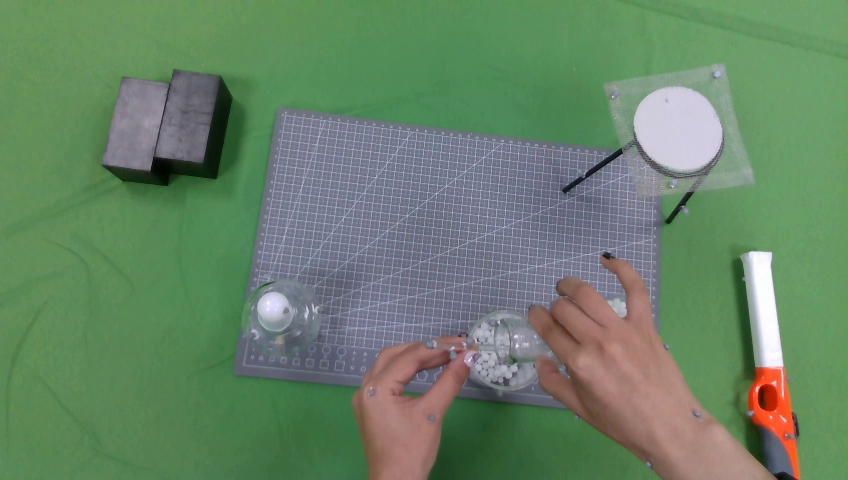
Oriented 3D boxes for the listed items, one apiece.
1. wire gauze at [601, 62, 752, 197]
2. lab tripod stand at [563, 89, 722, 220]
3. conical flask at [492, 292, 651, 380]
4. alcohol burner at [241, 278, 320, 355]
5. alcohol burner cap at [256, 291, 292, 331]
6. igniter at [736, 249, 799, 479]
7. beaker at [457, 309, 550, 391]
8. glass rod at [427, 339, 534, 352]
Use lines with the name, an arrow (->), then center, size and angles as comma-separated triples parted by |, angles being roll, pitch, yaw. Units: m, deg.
wire gauze -> 0.242, -0.106, 0.579 | 0.125, 0.011, 0.121 | -9, 80, -6
lab tripod stand -> 0.235, -0.088, 0.643 | 0.148, 0.132, 0.147 | 1, 79, -5
conical flask -> 0.119, 0.081, 0.505 | 0.122, 0.075, 0.075 | 1, 77, -18
alcohol burner -> -0.142, 0.072, 0.589 | 0.078, 0.119, 0.077 | 1, 76, -5
alcohol burner cap -> -0.138, 0.062, 0.555 | 0.034, 0.048, 0.033 | 4, 70, -10
igniter -> 0.373, 0.146, 0.659 | 0.057, 0.025, 0.275 | 2, 78, -15
beaker -> 0.074, 0.110, 0.605 | 0.084, 0.100, 0.073 | -12, 79, -7
glass rod -> 0.056, 0.091, 0.514 | 0.008, 0.201, 0.008 | -6, 77, 30
